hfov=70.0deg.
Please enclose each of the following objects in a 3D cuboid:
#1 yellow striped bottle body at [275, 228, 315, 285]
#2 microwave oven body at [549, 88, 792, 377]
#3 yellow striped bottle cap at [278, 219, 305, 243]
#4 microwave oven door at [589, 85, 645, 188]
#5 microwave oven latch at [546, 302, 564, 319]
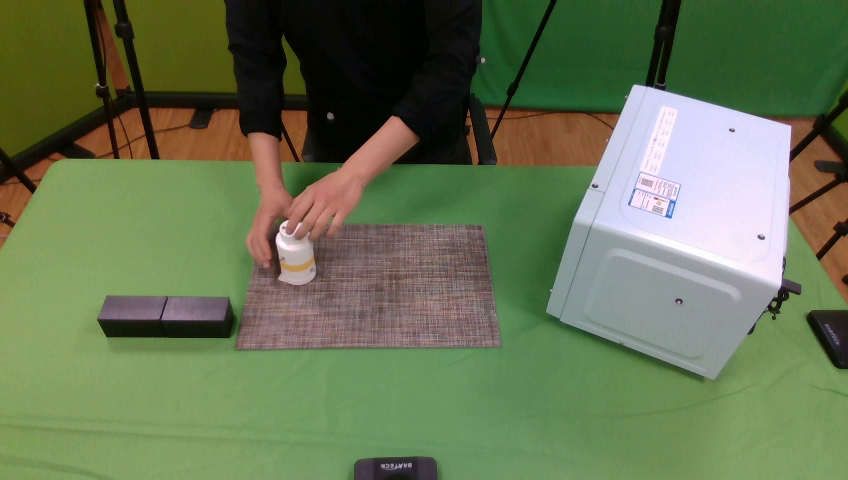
[{"bbox_3d":[-0.231,0.021,1.085,0.063,0.121,0.062,2,46,-2],"label":"yellow striped bottle body"},{"bbox_3d":[0.456,-0.028,1.088,0.325,0.261,0.440,20,47,16],"label":"microwave oven body"},{"bbox_3d":[-0.229,-0.016,1.047,0.044,0.019,0.044,3,44,-3],"label":"yellow striped bottle cap"},{"bbox_3d":[0.341,-0.107,1.148,0.039,0.245,0.354,20,48,15],"label":"microwave oven door"},{"bbox_3d":[0.242,0.102,1.081,0.030,0.029,0.079,22,48,17],"label":"microwave oven latch"}]
